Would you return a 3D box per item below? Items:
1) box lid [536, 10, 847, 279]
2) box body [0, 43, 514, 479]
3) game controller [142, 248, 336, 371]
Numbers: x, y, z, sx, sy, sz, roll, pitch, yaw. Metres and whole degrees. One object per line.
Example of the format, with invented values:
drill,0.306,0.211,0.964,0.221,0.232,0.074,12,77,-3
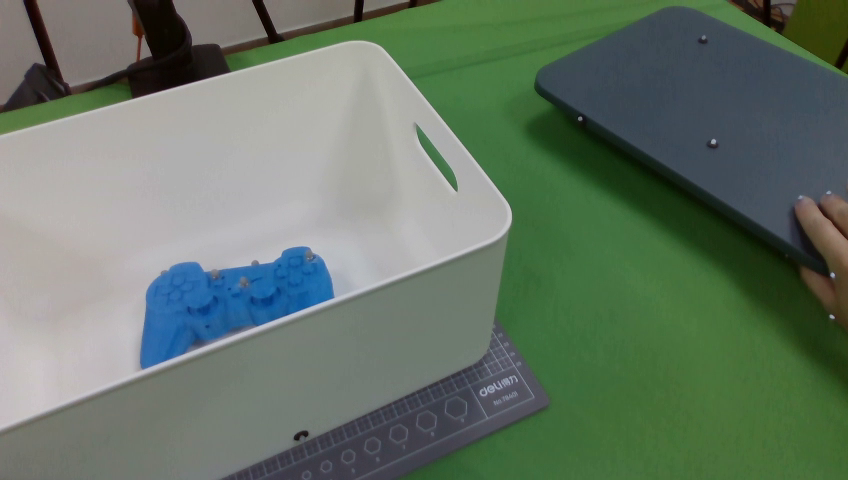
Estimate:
box lid,0.322,-0.127,0.614,0.263,0.015,0.367,-30,53,-23
box body,-0.148,0.022,0.450,0.365,0.162,0.251,-20,50,-15
game controller,-0.148,0.052,0.493,0.155,0.052,0.096,-7,43,-4
